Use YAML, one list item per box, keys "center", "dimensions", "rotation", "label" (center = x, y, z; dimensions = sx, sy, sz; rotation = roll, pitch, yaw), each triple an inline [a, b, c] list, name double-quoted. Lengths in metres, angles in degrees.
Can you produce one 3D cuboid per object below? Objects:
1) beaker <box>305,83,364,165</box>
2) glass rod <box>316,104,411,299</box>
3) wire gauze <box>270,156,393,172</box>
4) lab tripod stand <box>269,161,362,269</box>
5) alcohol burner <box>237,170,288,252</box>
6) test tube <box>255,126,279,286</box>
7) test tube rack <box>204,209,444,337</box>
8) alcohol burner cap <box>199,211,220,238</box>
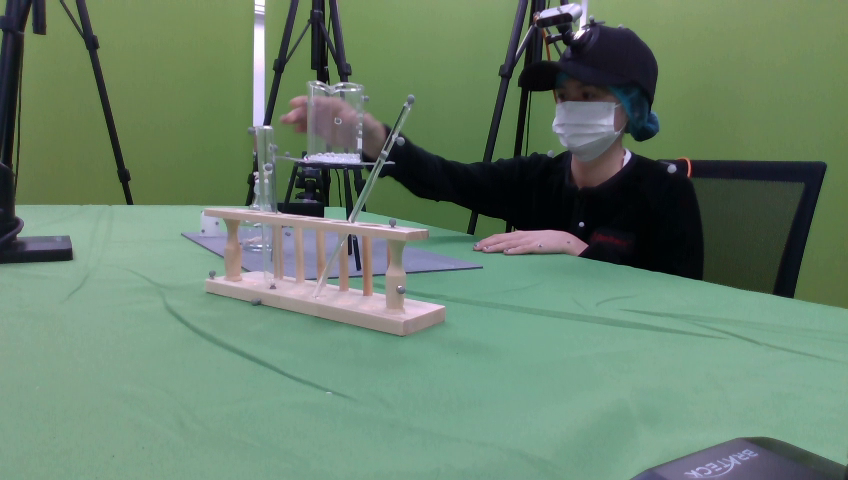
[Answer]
- center: [-0.116, -0.147, 0.775]
  dimensions: [0.074, 0.100, 0.084]
  rotation: [2, 8, -2]
  label: "beaker"
- center: [-0.054, -0.026, 0.516]
  dimensions: [0.008, 0.199, 0.008]
  rotation: [23, 24, -11]
  label: "glass rod"
- center: [-0.121, -0.100, 0.785]
  dimensions: [0.122, 0.011, 0.124]
  rotation: [-6, 14, -38]
  label: "wire gauze"
- center: [-0.125, -0.036, 0.794]
  dimensions: [0.148, 0.131, 0.148]
  rotation: [5, 7, 0]
  label: "lab tripod stand"
- center: [-0.236, -0.042, 0.882]
  dimensions: [0.078, 0.119, 0.078]
  rotation: [2, 9, 0]
  label: "alcohol burner"
- center: [-0.147, -0.031, 0.566]
  dimensions: [0.017, 0.150, 0.017]
  rotation: [-1, 8, 0]
  label: "test tube"
- center: [-0.100, 0.021, 0.565]
  dimensions: [0.241, 0.085, 0.067]
  rotation: [7, 9, 32]
  label: "test tube rack"
- center: [-0.356, -0.027, 1.002]
  dimensions: [0.034, 0.048, 0.034]
  rotation: [2, 7, 0]
  label: "alcohol burner cap"
